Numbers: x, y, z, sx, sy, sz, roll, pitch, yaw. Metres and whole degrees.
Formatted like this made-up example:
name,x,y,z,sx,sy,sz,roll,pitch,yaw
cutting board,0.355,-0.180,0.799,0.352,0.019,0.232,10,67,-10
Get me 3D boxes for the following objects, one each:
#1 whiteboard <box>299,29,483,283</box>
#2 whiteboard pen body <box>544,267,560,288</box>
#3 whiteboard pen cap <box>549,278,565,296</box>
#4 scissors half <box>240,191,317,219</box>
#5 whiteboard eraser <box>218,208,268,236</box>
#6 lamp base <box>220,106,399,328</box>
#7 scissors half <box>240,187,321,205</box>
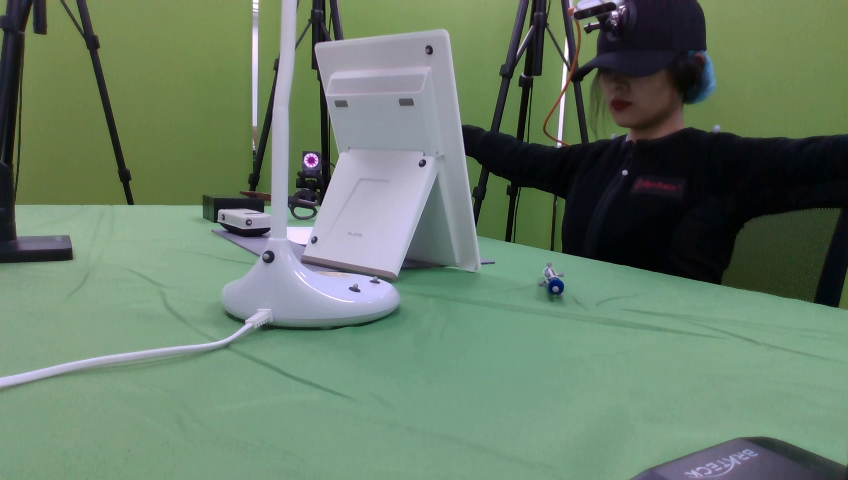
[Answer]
name,x,y,z,sx,sy,sz,roll,pitch,yaw
whiteboard,-0.074,-0.082,0.742,0.216,0.305,0.144,9,29,38
whiteboard pen body,0.149,0.046,0.697,0.017,0.017,0.141,4,4,9
whiteboard pen cap,0.140,0.049,0.639,0.018,0.018,0.033,4,2,9
scissors half,-0.317,-0.079,1.326,0.176,0.040,0.013,18,15,-31
whiteboard eraser,-0.309,-0.031,1.044,0.056,0.042,0.112,-2,9,-40
lamp base,-0.101,-0.023,0.531,0.160,0.180,0.179,4,10,10
scissors half,-0.311,-0.097,1.319,0.176,0.040,0.012,-1,30,-25
